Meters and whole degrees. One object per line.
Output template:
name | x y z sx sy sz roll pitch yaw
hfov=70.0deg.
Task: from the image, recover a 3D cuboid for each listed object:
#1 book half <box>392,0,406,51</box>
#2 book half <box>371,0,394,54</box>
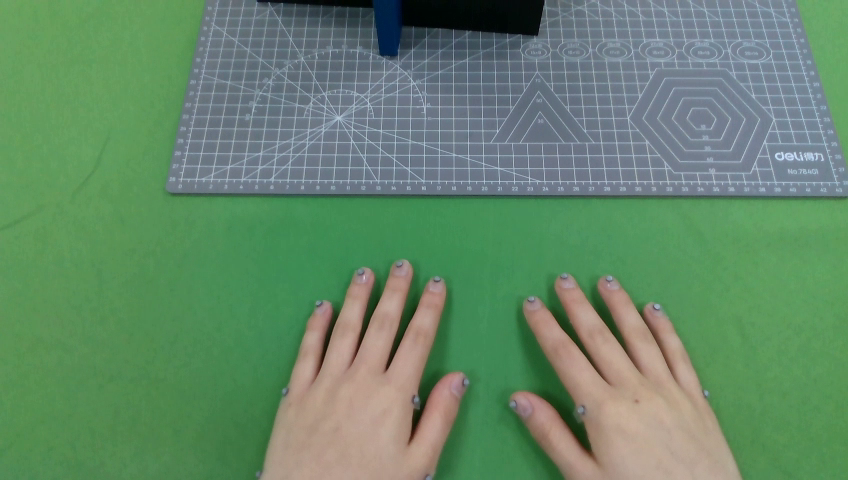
book half | -0.014 -0.245 0.377 0.007 0.211 0.142 6 66 4
book half | -0.022 -0.244 0.376 0.016 0.212 0.147 5 66 3
